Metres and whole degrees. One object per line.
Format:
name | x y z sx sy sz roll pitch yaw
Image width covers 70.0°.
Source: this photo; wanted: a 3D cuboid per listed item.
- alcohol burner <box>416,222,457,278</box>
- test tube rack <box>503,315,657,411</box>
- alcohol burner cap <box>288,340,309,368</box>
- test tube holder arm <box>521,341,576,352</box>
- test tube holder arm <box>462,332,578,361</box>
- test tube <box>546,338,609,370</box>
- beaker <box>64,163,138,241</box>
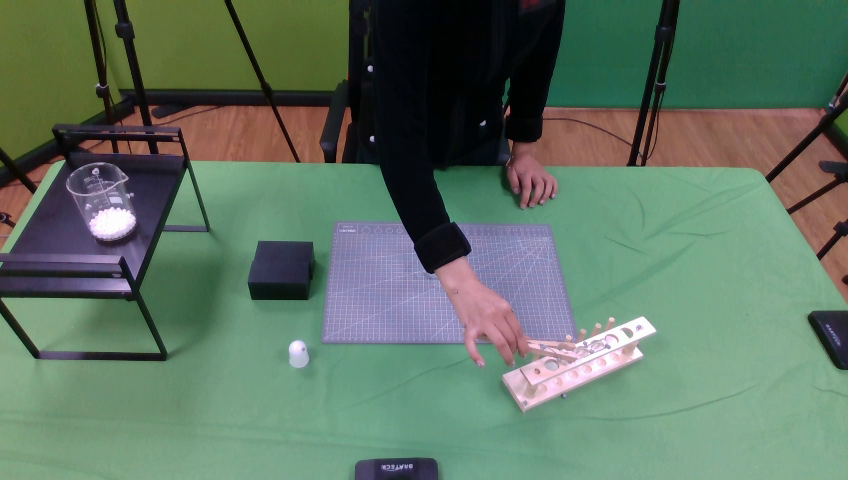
alcohol burner | 0.024 0.014 1.116 0.078 0.120 0.077 1 45 -1
test tube rack | 0.253 0.186 0.989 0.242 0.085 0.066 -18 50 -20
alcohol burner cap | -0.207 0.183 0.991 0.034 0.048 0.033 2 47 -2
test tube holder arm | 0.186 0.161 0.912 0.088 0.015 0.010 5 37 -17
test tube holder arm | 0.143 0.157 0.898 0.179 0.015 0.013 11 35 -10
test tube | 0.226 0.180 0.933 0.017 0.150 0.017 17 56 -26
beaker | -0.477 -0.055 0.910 0.084 0.101 0.073 -9 48 -13
